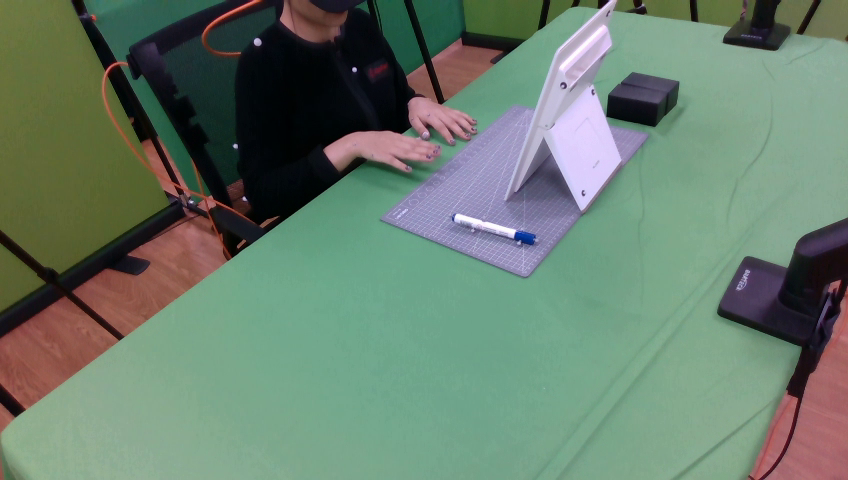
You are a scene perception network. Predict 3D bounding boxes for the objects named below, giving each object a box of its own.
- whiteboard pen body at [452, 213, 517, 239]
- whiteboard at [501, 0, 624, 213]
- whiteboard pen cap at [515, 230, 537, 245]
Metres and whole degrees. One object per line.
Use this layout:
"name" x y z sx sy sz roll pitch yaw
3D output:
"whiteboard pen body" 0.109 -0.020 0.979 0.140 0.017 0.017 17 47 25
"whiteboard" 0.271 -0.189 0.977 0.143 0.306 0.218 34 53 16
"whiteboard pen cap" 0.160 -0.005 0.956 0.033 0.018 0.018 17 47 26
